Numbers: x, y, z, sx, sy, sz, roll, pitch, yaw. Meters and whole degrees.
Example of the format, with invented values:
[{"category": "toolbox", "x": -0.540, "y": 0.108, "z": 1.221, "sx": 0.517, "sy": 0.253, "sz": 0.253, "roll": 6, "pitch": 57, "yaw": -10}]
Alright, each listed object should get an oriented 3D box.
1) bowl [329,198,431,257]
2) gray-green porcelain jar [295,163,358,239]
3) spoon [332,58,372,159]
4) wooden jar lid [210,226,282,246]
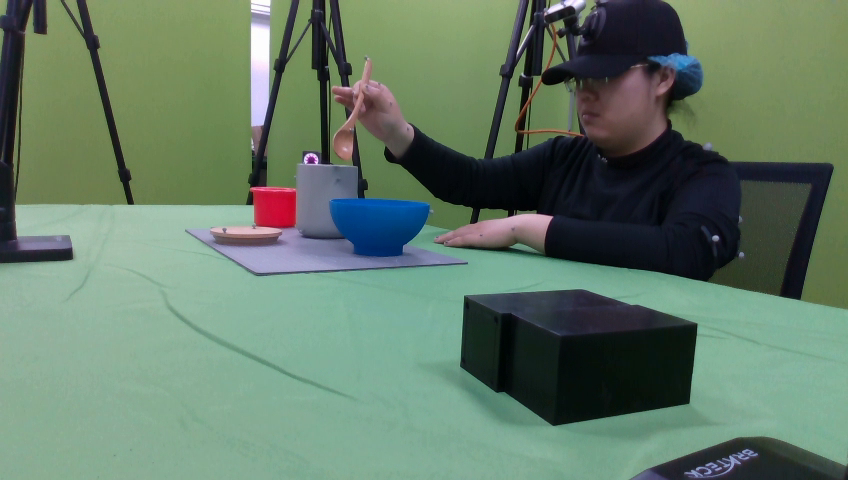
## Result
[{"category": "bowl", "x": -0.067, "y": -0.019, "z": 0.895, "sx": 0.151, "sy": 0.077, "sz": 0.151, "roll": 3, "pitch": 7, "yaw": 0}, {"category": "gray-green porcelain jar", "x": -0.170, "y": -0.069, "z": 1.054, "sx": 0.106, "sy": 0.126, "sz": 0.106, "roll": 3, "pitch": 7, "yaw": 0}, {"category": "spoon", "x": -0.112, "y": -0.220, "z": 0.999, "sx": 0.042, "sy": 0.193, "sz": 0.021, "roll": 30, "pitch": -21, "yaw": -36}, {"category": "wooden jar lid", "x": -0.279, "y": -0.007, "z": 0.951, "sx": 0.108, "sy": 0.020, "sz": 0.108, "roll": 2, "pitch": 8, "yaw": 0}]
